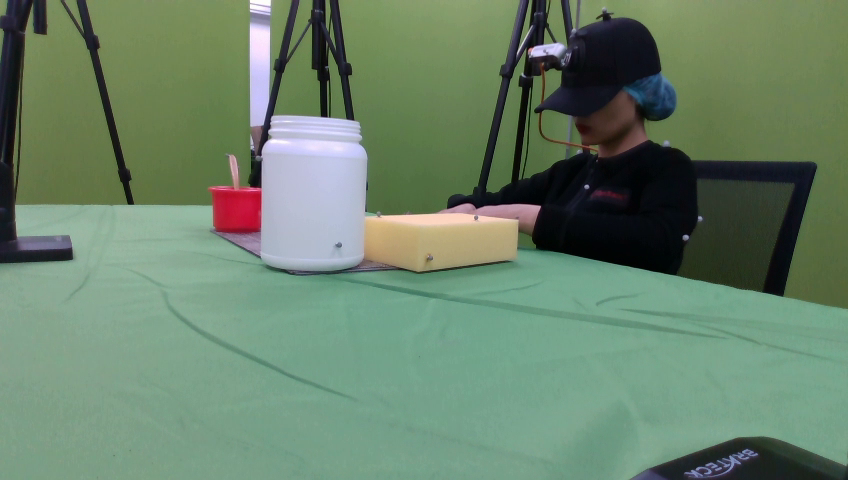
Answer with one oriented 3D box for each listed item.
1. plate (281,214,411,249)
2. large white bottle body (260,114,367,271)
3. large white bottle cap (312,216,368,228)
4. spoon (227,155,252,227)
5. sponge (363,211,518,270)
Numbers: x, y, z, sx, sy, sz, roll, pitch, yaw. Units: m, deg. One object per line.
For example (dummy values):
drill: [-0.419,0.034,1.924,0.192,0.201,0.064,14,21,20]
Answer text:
plate: [-0.125,-0.014,0.979,0.209,0.038,0.209,2,7,0]
large white bottle body: [-0.139,-0.062,0.763,0.131,0.184,0.130,3,8,0]
large white bottle cap: [-0.171,-0.038,1.234,0.115,0.018,0.115,2,5,0]
spoon: [-0.343,-0.093,1.108,0.042,0.021,0.193,-1,52,-22]
sponge: [0.026,-0.004,0.858,0.117,0.061,0.208,9,10,44]
